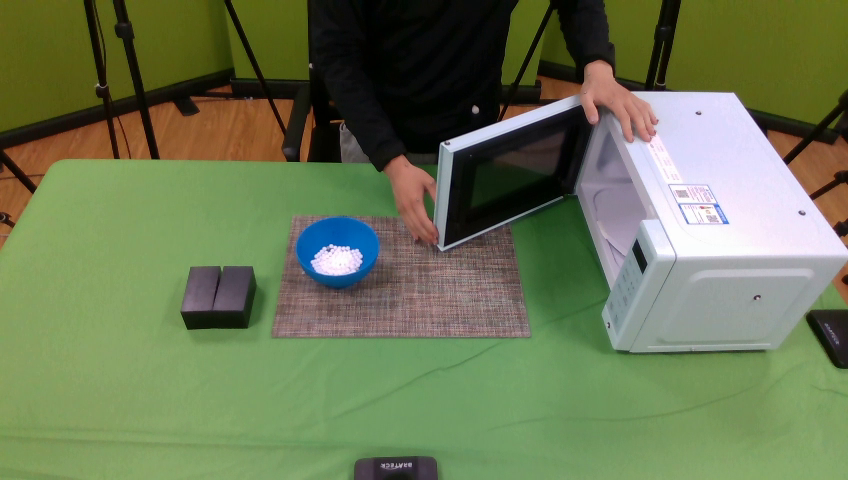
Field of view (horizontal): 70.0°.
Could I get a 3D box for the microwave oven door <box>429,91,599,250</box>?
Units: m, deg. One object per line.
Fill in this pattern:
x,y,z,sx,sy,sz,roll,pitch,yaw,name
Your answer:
0.175,-0.136,1.171,0.356,0.245,0.039,-23,52,-24,microwave oven door

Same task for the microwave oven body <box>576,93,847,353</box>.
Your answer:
0.475,-0.041,1.109,0.326,0.261,0.438,-1,45,-4,microwave oven body

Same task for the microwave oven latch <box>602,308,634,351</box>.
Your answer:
0.332,0.153,1.044,0.030,0.029,0.078,-1,45,-4,microwave oven latch

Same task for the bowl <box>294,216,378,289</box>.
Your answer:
-0.158,0.036,1.110,0.151,0.077,0.150,3,45,-2,bowl
